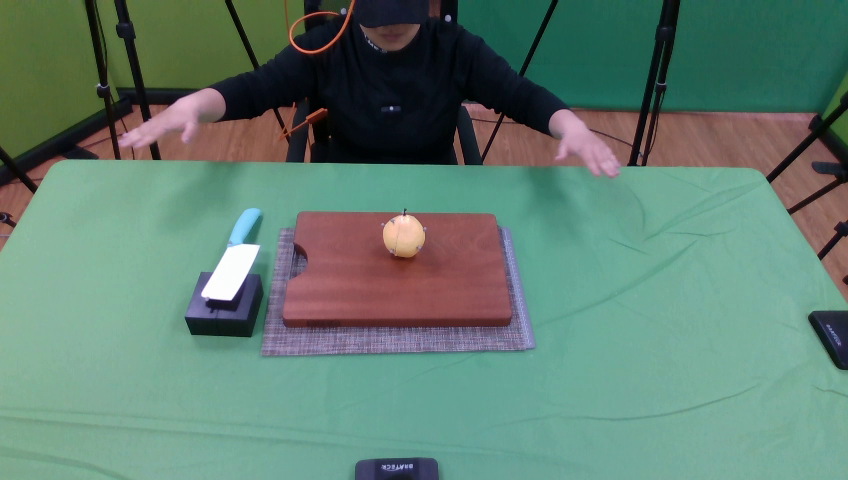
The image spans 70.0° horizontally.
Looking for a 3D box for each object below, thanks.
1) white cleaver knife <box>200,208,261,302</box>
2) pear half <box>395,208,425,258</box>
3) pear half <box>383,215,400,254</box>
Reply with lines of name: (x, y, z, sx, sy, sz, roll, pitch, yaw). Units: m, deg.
white cleaver knife: (-0.338, 0.024, 1.116, 0.066, 0.021, 0.285, 6, 35, -3)
pear half: (-0.025, -0.018, 1.113, 0.056, 0.110, 0.076, 0, 50, -3)
pear half: (-0.061, -0.013, 1.119, 0.031, 0.088, 0.070, 0, 54, -4)
